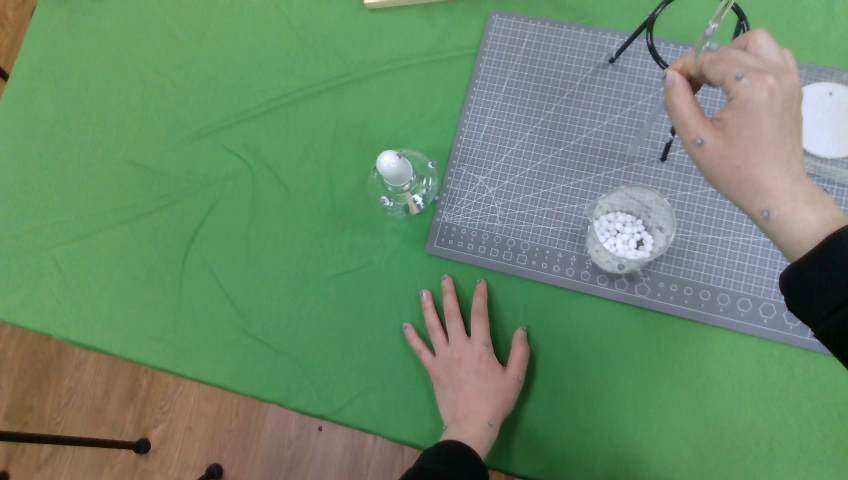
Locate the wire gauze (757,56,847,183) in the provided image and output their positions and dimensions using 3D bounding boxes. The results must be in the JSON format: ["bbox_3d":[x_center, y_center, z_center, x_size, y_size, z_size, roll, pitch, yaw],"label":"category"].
[{"bbox_3d":[0.423,-0.126,0.635,0.125,0.011,0.121,19,83,9],"label":"wire gauze"}]

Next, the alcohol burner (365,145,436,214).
[{"bbox_3d":[-0.028,-0.069,0.641,0.078,0.120,0.077,-1,77,7],"label":"alcohol burner"}]

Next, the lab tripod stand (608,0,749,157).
[{"bbox_3d":[0.255,-0.172,0.604,0.148,0.132,0.148,-1,81,7],"label":"lab tripod stand"}]

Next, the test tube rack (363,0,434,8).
[{"bbox_3d":[0.040,-0.331,0.692,0.242,0.085,0.066,-3,79,8],"label":"test tube rack"}]

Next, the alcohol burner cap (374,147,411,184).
[{"bbox_3d":[-0.034,-0.077,0.606,0.034,0.048,0.034,-1,83,9],"label":"alcohol burner cap"}]

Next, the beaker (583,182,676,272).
[{"bbox_3d":[0.195,-0.009,0.601,0.083,0.101,0.074,20,83,13],"label":"beaker"}]

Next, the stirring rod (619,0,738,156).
[{"bbox_3d":[0.169,-0.107,0.416,0.014,0.177,0.006,13,66,3],"label":"stirring rod"}]
